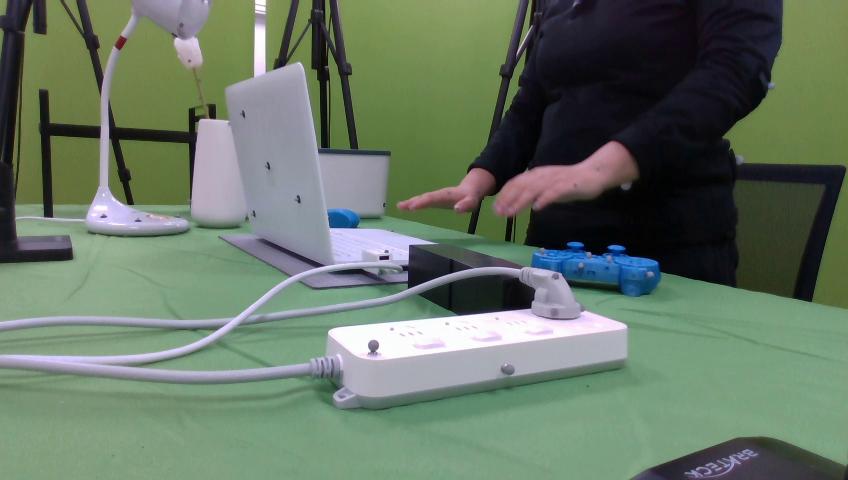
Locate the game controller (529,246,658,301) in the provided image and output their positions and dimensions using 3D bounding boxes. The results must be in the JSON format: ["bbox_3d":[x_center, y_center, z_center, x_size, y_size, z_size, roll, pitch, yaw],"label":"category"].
[{"bbox_3d":[0.202,0.037,0.733,0.155,0.051,0.097,5,10,19],"label":"game controller"}]

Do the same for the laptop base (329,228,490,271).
[{"bbox_3d":[-0.096,0.011,0.912,0.237,0.023,0.352,2,6,-32],"label":"laptop base"}]

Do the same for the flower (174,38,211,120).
[{"bbox_3d":[-0.401,-0.207,1.141,0.038,0.361,0.044,-14,3,44],"label":"flower"}]

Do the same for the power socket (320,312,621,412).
[{"bbox_3d":[0.038,0.075,0.409,0.228,0.032,0.072,-2,8,-29],"label":"power socket"}]

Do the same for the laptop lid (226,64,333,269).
[{"bbox_3d":[-0.209,-0.101,0.824,0.013,0.241,0.355,-13,16,-29],"label":"laptop lid"}]

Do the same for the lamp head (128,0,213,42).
[{"bbox_3d":[-0.423,-0.394,0.980,0.123,0.112,0.112,20,7,-3],"label":"lamp head"}]

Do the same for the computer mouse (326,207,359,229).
[{"bbox_3d":[-0.194,-0.046,1.240,0.117,0.041,0.063,0,9,12],"label":"computer mouse"}]

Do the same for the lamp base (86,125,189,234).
[{"bbox_3d":[-0.497,-0.105,1.027,0.179,0.180,0.160,1,7,2],"label":"lamp base"}]

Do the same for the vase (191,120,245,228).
[{"bbox_3d":[-0.389,-0.124,1.143,0.098,0.200,0.098,3,9,0],"label":"vase"}]

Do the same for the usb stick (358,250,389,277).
[{"bbox_3d":[-0.062,0.026,0.708,0.021,0.027,0.059,-4,5,-28],"label":"usb stick"}]

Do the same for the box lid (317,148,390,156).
[{"bbox_3d":[-0.295,-0.217,1.464,0.373,0.015,0.262,-1,8,-30],"label":"box lid"}]

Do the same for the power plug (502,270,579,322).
[{"bbox_3d":[0.091,0.051,0.469,0.035,0.052,0.072,0,5,-18],"label":"power plug"}]

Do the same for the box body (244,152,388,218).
[{"bbox_3d":[-0.297,-0.143,1.474,0.366,0.160,0.253,-1,9,-30],"label":"box body"}]
